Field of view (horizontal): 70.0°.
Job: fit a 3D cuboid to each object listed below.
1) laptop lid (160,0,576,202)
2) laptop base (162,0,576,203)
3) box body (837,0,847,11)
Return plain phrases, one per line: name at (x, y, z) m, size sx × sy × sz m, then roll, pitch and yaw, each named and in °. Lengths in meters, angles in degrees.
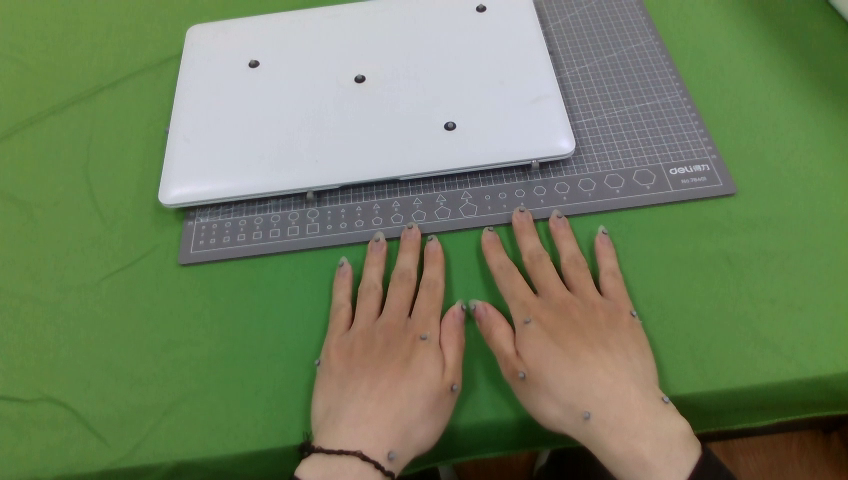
laptop lid at (-0.058, -0.151, 0.559) m, size 0.357 × 0.013 × 0.239 m, roll -6°, pitch 59°, yaw 1°
laptop base at (-0.057, -0.146, 0.570) m, size 0.354 × 0.023 × 0.233 m, roll -7°, pitch 60°, yaw 0°
box body at (0.515, -0.277, 0.520) m, size 0.254 × 0.162 × 0.360 m, roll -11°, pitch 56°, yaw -2°
